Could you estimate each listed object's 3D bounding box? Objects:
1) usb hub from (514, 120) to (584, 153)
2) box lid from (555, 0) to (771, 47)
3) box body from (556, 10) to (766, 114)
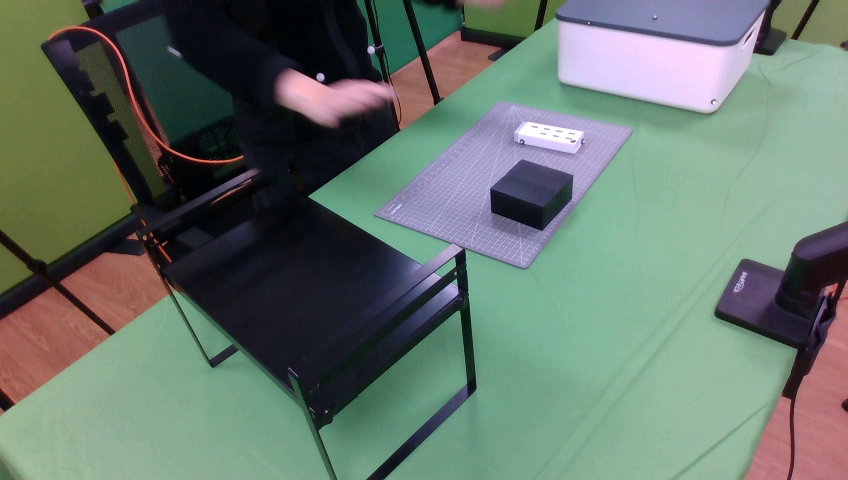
[{"bbox_3d":[0.240,-0.200,1.165,0.124,0.025,0.049,17,46,26],"label":"usb hub"},{"bbox_3d":[0.481,-0.475,1.236,0.368,0.015,0.264,22,49,30],"label":"box lid"},{"bbox_3d":[0.491,-0.420,1.283,0.361,0.161,0.255,22,49,30],"label":"box body"}]
